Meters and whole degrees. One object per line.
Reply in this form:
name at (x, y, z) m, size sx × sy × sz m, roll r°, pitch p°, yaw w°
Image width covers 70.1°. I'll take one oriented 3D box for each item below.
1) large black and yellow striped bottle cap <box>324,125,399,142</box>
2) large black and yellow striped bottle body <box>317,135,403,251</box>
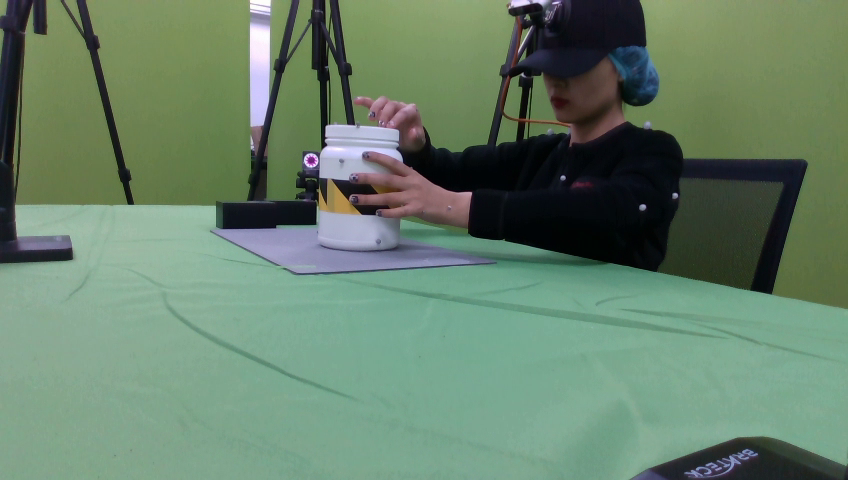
large black and yellow striped bottle cap at (-0.097, -0.165, 0.941) m, size 0.115 × 0.019 × 0.115 m, roll 5°, pitch 7°, yaw 0°
large black and yellow striped bottle body at (-0.100, -0.081, 0.952) m, size 0.131 × 0.184 × 0.130 m, roll 3°, pitch 8°, yaw 0°
